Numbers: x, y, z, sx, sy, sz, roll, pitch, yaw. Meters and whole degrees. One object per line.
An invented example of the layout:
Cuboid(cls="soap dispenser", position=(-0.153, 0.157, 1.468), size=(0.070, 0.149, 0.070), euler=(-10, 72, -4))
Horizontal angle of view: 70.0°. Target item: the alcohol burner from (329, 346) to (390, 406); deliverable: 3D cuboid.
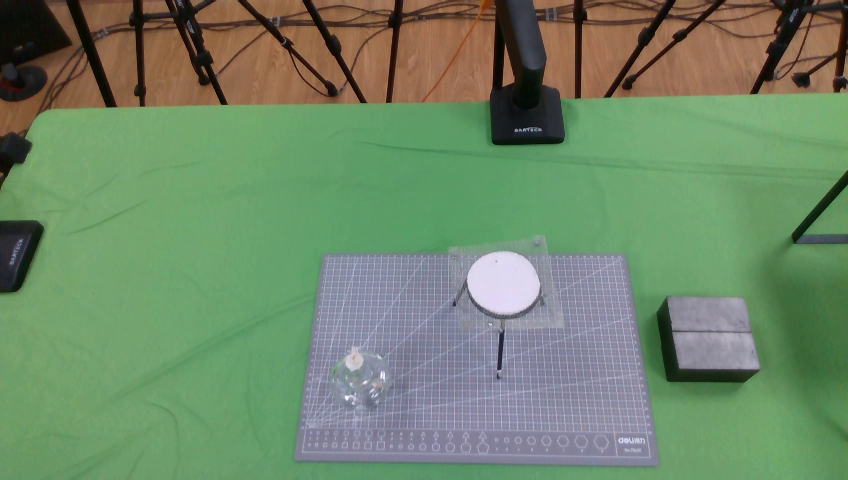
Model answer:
Cuboid(cls="alcohol burner", position=(-0.082, 0.163, 0.753), size=(0.078, 0.120, 0.077), euler=(-1, 57, 2))

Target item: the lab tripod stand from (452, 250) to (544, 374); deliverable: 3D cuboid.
Cuboid(cls="lab tripod stand", position=(0.101, 0.080, 0.782), size=(0.148, 0.132, 0.147), euler=(-1, 58, 2))

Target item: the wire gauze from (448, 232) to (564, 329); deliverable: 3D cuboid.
Cuboid(cls="wire gauze", position=(0.096, 0.048, 0.723), size=(0.125, 0.011, 0.120), euler=(-5, 60, -1))
